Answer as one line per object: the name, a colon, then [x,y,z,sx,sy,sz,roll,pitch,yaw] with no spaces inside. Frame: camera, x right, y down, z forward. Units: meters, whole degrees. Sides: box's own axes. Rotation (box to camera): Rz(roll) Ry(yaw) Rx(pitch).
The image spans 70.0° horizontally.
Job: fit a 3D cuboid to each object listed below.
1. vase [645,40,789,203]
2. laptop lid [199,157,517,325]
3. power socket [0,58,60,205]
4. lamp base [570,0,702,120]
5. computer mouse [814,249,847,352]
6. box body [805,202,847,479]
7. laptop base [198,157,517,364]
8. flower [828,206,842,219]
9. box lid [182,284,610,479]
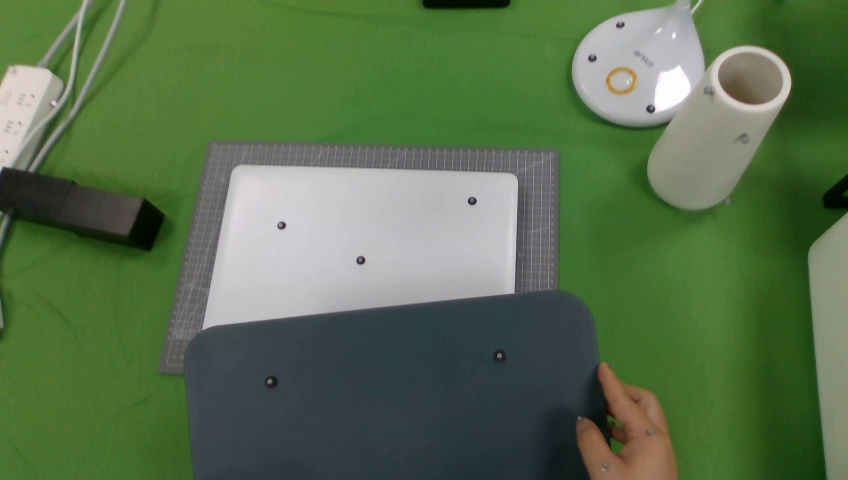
vase: [0.294,-0.116,0.624,0.098,0.201,0.097,-2,69,6]
laptop lid: [-0.074,0.016,0.694,0.356,0.013,0.240,4,74,7]
power socket: [-0.555,-0.144,0.797,0.072,0.033,0.225,10,71,8]
lamp base: [0.263,-0.257,0.686,0.159,0.181,0.179,36,75,16]
computer mouse: [0.452,0.061,0.626,0.063,0.041,0.116,-1,62,8]
box body: [0.510,0.135,0.536,0.254,0.161,0.362,4,71,7]
laptop base: [-0.073,0.018,0.706,0.354,0.023,0.234,2,74,6]
flower: [0.445,0.143,0.587,0.044,0.038,0.360,4,77,-40]
box lid: [-0.029,0.184,0.534,0.371,0.015,0.262,-6,87,4]
